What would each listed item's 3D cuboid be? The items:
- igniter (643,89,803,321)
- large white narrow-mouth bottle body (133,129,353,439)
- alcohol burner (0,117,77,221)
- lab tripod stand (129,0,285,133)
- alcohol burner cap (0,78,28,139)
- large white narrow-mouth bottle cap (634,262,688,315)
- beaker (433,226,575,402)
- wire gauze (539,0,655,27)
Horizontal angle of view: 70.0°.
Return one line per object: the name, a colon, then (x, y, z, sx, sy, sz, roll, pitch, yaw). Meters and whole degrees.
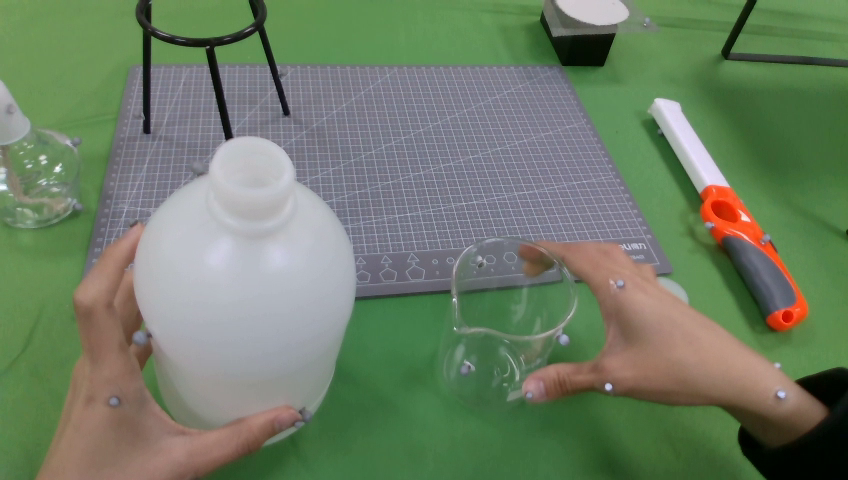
igniter: (0.263, -0.044, 0.548, 0.057, 0.025, 0.273, 5, 49, -18)
large white narrow-mouth bottle body: (-0.087, 0.023, 0.301, 0.102, 0.196, 0.101, 8, 54, -11)
alcohol burner: (-0.293, -0.070, 0.427, 0.078, 0.120, 0.077, 5, 48, -6)
lab tripod stand: (-0.166, -0.128, 0.478, 0.149, 0.132, 0.147, 6, 50, -6)
alcohol burner cap: (-0.289, -0.092, 0.398, 0.034, 0.048, 0.033, 4, 56, -5)
large white narrow-mouth bottle cap: (0.184, 0.038, 0.472, 0.038, 0.024, 0.037, 4, 50, -4)
beaker: (0.043, 0.053, 0.385, 0.084, 0.101, 0.073, -32, 61, -29)
wire gauze: (0.181, -0.274, 0.678, 0.122, 0.011, 0.123, -2, 51, -12)
